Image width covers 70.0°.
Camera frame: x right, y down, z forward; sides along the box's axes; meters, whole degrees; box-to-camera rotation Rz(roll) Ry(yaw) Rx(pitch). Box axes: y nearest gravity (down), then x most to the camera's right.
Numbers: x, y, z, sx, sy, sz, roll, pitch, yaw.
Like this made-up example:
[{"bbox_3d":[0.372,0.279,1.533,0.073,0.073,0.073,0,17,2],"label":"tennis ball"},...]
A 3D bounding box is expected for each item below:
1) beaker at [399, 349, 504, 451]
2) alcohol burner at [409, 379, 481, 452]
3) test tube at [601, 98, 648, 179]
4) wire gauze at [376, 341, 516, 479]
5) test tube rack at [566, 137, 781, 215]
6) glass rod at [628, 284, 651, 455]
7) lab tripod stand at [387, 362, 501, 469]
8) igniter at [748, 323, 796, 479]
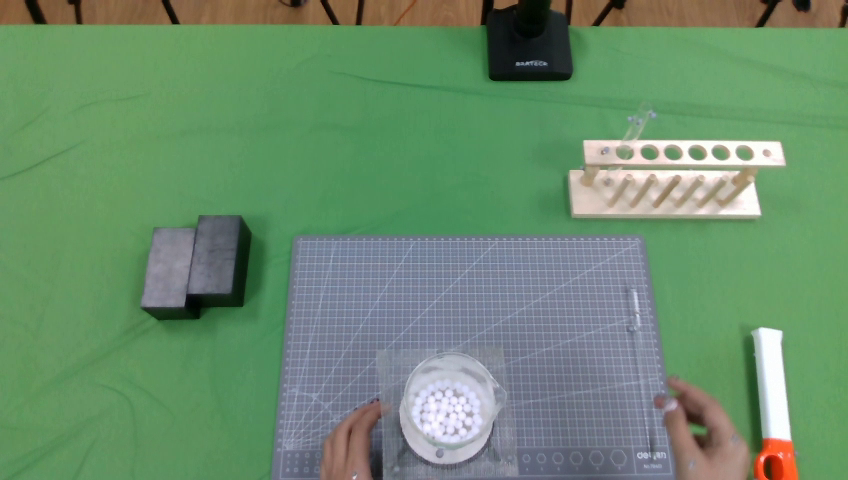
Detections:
[{"bbox_3d":[0.022,0.141,0.520,0.084,0.101,0.073,-5,67,-3],"label":"beaker"},{"bbox_3d":[0.023,0.182,0.637,0.078,0.120,0.077,1,66,-2],"label":"alcohol burner"},{"bbox_3d":[0.239,-0.118,0.730,0.017,0.151,0.017,0,64,1],"label":"test tube"},{"bbox_3d":[0.018,0.156,0.566,0.125,0.011,0.120,-4,65,0],"label":"wire gauze"},{"bbox_3d":[0.312,-0.080,0.769,0.242,0.086,0.066,0,67,-1],"label":"test tube rack"},{"bbox_3d":[0.253,0.147,0.712,0.008,0.008,0.198,1,70,-1],"label":"glass rod"},{"bbox_3d":[0.018,0.185,0.625,0.148,0.132,0.147,0,67,1],"label":"lab tripod stand"},{"bbox_3d":[0.390,0.228,0.675,0.057,0.025,0.274,10,68,-8],"label":"igniter"}]
